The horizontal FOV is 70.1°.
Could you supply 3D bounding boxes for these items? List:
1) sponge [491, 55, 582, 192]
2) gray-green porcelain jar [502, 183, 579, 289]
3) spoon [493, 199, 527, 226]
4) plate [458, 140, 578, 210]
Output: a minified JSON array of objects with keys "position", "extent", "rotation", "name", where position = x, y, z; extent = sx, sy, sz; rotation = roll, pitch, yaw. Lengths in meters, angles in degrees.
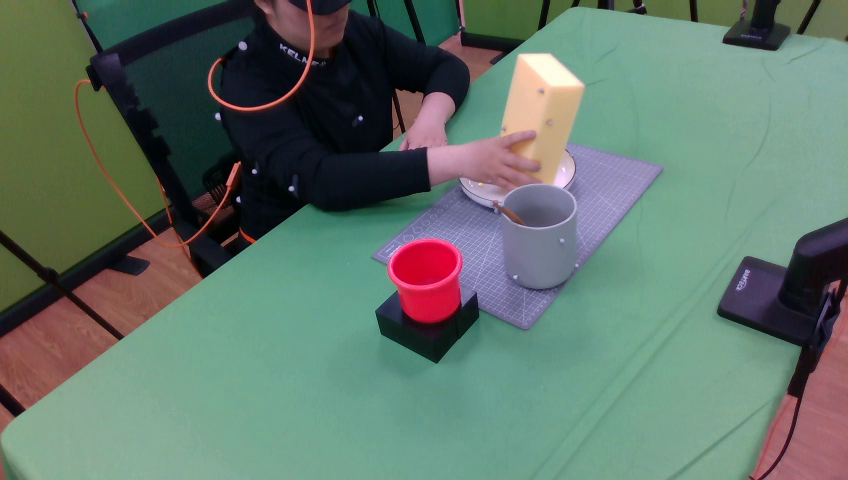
[{"position":[0.179,-0.182,0.996],"extent":[0.061,0.207,0.117],"rotation":[-6,39,-19],"name":"sponge"},{"position":[0.167,-0.001,0.866],"extent":[0.106,0.127,0.105],"rotation":[-5,40,5],"name":"gray-green porcelain jar"},{"position":[0.135,-0.016,0.831],"extent":[0.021,0.195,0.041],"rotation":[-49,53,-1],"name":"spoon"},{"position":[0.166,-0.113,1.068],"extent":[0.207,0.039,0.206],"rotation":[-5,40,5],"name":"plate"}]
